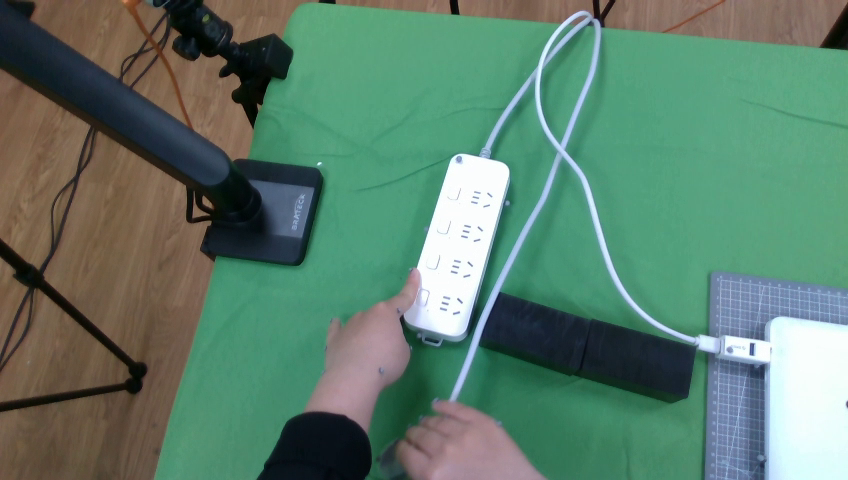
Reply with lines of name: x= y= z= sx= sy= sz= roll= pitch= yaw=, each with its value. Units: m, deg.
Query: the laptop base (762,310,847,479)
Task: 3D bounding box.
laptop base: x=0.501 y=0.205 z=0.570 sx=0.354 sy=0.023 sz=0.234 roll=8 pitch=75 yaw=7

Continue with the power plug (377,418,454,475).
power plug: x=-0.009 y=0.192 z=0.560 sx=0.073 sy=0.052 sz=0.035 roll=-8 pitch=78 yaw=-29

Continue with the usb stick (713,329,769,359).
usb stick: x=0.323 y=0.105 z=0.604 sx=0.059 sy=0.027 sz=0.021 roll=10 pitch=74 yaw=2

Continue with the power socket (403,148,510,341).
power socket: x=0.038 y=-0.001 z=0.667 sx=0.072 sy=0.033 sz=0.225 roll=15 pitch=72 yaw=9

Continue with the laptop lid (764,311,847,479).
laptop lid: x=0.499 y=0.204 z=0.558 sx=0.356 sy=0.013 sz=0.240 roll=10 pitch=74 yaw=7
